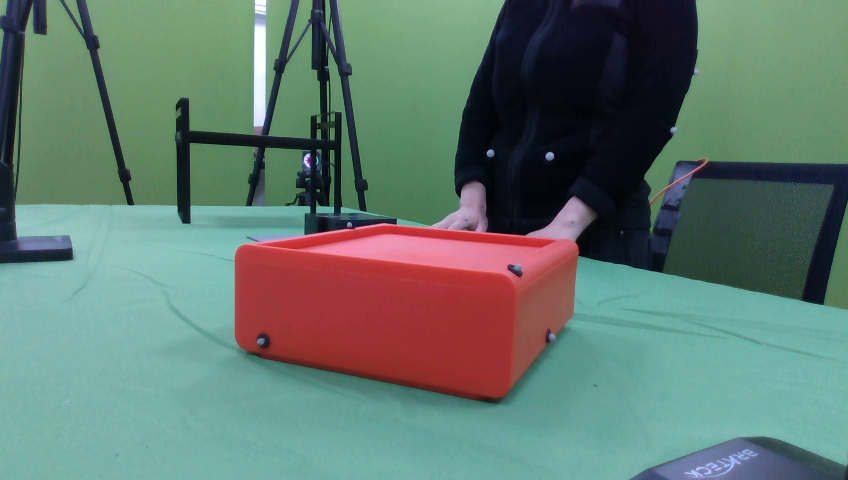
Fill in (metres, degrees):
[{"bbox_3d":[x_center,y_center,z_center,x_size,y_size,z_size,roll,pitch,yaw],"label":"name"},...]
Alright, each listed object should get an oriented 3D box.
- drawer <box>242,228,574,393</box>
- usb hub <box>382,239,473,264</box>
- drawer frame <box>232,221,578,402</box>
[{"bbox_3d":[0.002,0.041,0.476,0.194,0.073,0.212,6,9,22],"label":"drawer"},{"bbox_3d":[0.006,0.015,0.853,0.126,0.025,0.049,-3,9,-36],"label":"usb hub"},{"bbox_3d":[0.001,0.038,0.475,0.201,0.082,0.214,6,9,22],"label":"drawer frame"}]
